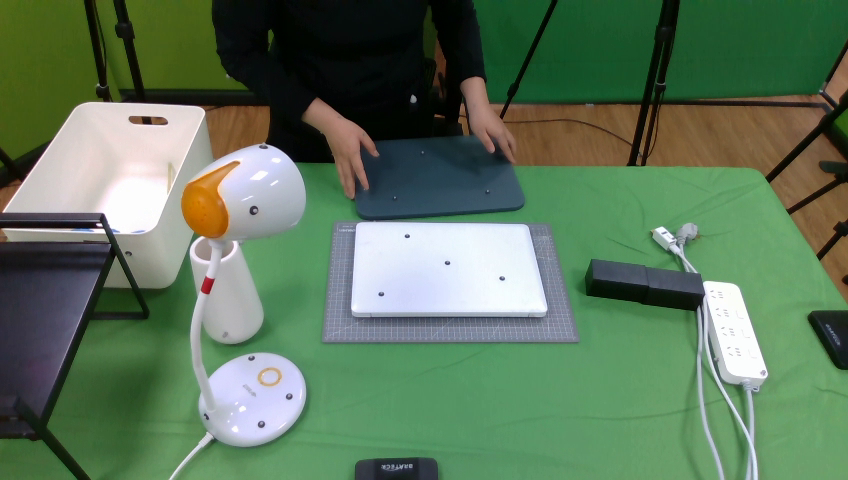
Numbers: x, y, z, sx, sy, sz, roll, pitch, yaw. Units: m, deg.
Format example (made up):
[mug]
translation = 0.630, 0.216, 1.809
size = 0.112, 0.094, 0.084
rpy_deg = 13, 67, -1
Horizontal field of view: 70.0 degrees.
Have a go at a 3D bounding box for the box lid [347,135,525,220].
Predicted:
[box lid]
translation = 0.023, -0.146, 1.349
size = 0.372, 0.015, 0.261
rpy_deg = -4, 47, -9

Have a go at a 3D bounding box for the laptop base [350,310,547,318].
[laptop base]
translation = 0.041, 0.056, 1.149
size = 0.355, 0.023, 0.234
rpy_deg = 0, 42, -4

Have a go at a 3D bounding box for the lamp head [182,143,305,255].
[lamp head]
translation = -0.216, -0.044, 0.697
size = 0.112, 0.113, 0.123
rpy_deg = 23, 31, 17

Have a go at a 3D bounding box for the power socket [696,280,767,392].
[power socket]
translation = 0.543, 0.160, 1.077
size = 0.072, 0.033, 0.225
rpy_deg = 5, 46, 2

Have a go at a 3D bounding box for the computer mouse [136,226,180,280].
[computer mouse]
translation = -0.491, 0.020, 1.118
size = 0.063, 0.041, 0.116
rpy_deg = 0, 54, -8

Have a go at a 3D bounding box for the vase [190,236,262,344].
[vase]
translation = -0.317, 0.081, 0.971
size = 0.098, 0.201, 0.097
rpy_deg = 3, 47, -3

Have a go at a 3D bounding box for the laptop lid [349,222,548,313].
[laptop lid]
translation = 0.042, 0.046, 1.142
size = 0.357, 0.013, 0.240
rpy_deg = 2, 44, -3

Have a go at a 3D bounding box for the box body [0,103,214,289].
[box body]
translation = -0.563, -0.087, 1.139
size = 0.254, 0.161, 0.361
rpy_deg = 2, 46, -3

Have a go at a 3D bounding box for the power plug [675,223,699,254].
[power plug]
translation = 0.537, 0.000, 1.244
size = 0.053, 0.035, 0.072
rpy_deg = 19, 83, -17

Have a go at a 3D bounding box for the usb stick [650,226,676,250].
[usb stick]
translation = 0.485, -0.008, 1.238
size = 0.021, 0.027, 0.059
rpy_deg = -22, 43, -13

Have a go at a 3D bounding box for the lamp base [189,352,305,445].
[lamp base]
translation = -0.268, 0.196, 0.876
size = 0.160, 0.181, 0.179
rpy_deg = 26, 52, 20

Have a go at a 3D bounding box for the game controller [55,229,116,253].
[game controller]
translation = -0.597, 0.010, 1.116
size = 0.155, 0.052, 0.096
rpy_deg = 1, 48, -1

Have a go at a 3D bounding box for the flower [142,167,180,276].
[flower]
translation = -0.495, -0.053, 1.173
size = 0.044, 0.038, 0.359
rpy_deg = -39, 35, 16
